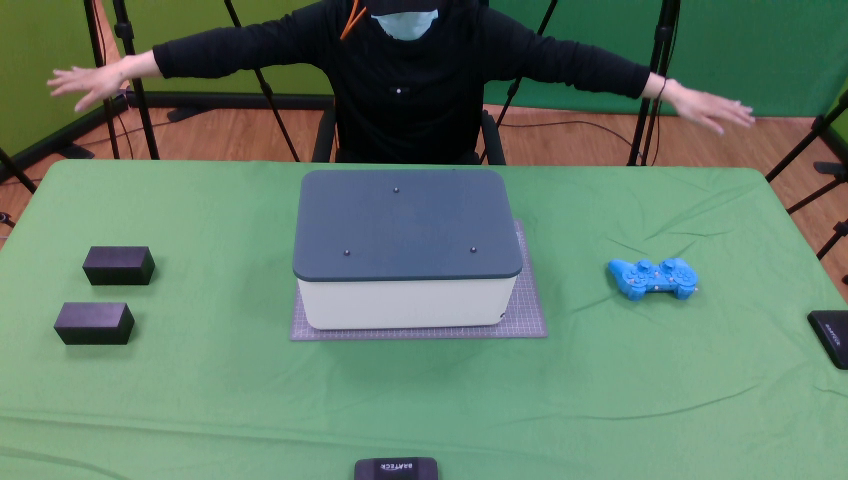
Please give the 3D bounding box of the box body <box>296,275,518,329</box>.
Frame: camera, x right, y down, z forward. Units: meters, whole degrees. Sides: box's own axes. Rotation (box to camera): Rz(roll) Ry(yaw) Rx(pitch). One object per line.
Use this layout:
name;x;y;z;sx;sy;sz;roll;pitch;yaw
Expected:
box body;-0.032;0.016;1.075;0.364;0.161;0.252;-1;47;-5

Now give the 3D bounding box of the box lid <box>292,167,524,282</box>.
box lid;-0.027;-0.035;1.021;0.372;0.015;0.261;-1;47;-5

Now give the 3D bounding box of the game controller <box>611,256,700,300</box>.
game controller;0.441;0.062;1.144;0.155;0.052;0.096;-1;50;-4
